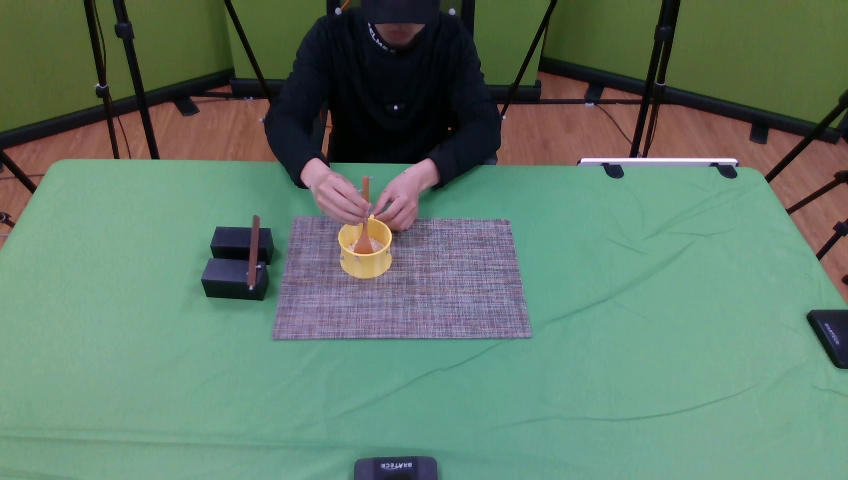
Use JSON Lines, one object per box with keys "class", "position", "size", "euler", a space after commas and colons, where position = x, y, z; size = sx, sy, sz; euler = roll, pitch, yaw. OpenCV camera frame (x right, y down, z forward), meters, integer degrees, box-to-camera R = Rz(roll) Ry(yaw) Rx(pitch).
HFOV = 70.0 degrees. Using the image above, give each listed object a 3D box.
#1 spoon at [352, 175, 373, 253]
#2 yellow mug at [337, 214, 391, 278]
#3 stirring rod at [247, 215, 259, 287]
{"class": "spoon", "position": [-0.108, -0.033, 1.084], "size": [0.041, 0.194, 0.021], "euler": [10, 34, 7]}
{"class": "yellow mug", "position": [-0.110, 0.002, 1.152], "size": [0.100, 0.064, 0.130], "euler": [7, 45, 2]}
{"class": "stirring rod", "position": [-0.309, 0.016, 1.097], "size": [0.014, 0.006, 0.175], "euler": [24, 36, -31]}
